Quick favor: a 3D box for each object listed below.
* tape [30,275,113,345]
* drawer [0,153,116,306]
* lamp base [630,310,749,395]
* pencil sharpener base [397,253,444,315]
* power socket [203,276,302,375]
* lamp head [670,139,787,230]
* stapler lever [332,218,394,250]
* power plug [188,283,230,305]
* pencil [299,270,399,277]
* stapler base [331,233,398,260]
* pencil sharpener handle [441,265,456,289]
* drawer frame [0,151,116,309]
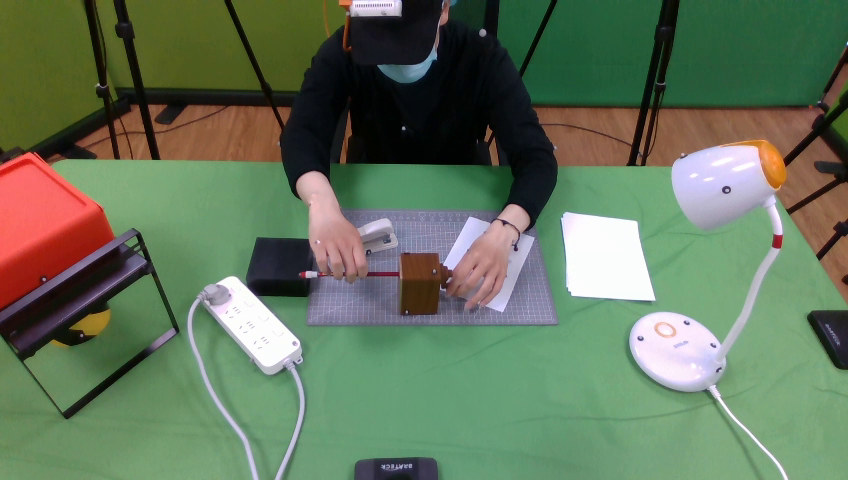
[{"bbox_3d":[-0.593,0.117,1.021,0.117,0.053,0.116,2,46,-2],"label":"tape"},{"bbox_3d":[-0.601,-0.015,0.880,0.193,0.073,0.211,32,53,23],"label":"drawer"},{"bbox_3d":[0.447,0.143,0.984,0.161,0.181,0.178,-24,55,-24],"label":"lamp base"},{"bbox_3d":[-0.007,0.077,1.061,0.077,0.107,0.061,-1,46,-6],"label":"pencil sharpener base"},{"bbox_3d":[-0.297,0.141,1.034,0.072,0.033,0.225,-34,58,-30],"label":"power socket"},{"bbox_3d":[0.415,-0.079,0.812,0.113,0.123,0.112,12,70,-37],"label":"lamp head"},{"bbox_3d":[-0.116,-0.012,1.161,0.118,0.040,0.026,-13,48,-14],"label":"stapler lever"},{"bbox_3d":[-0.368,0.099,1.036,0.072,0.053,0.035,-23,52,-25],"label":"power plug"},{"bbox_3d":[-0.116,0.057,1.037,0.194,0.012,0.012,-1,46,0],"label":"pencil"},{"bbox_3d":[-0.116,0.004,1.181,0.131,0.024,0.041,-13,48,-14],"label":"stapler base"},{"bbox_3d":[0.044,0.065,1.059,0.031,0.068,0.036,-1,57,-5],"label":"pencil sharpener handle"},{"bbox_3d":[-0.604,-0.013,0.876,0.201,0.083,0.213,31,52,23],"label":"drawer frame"}]
